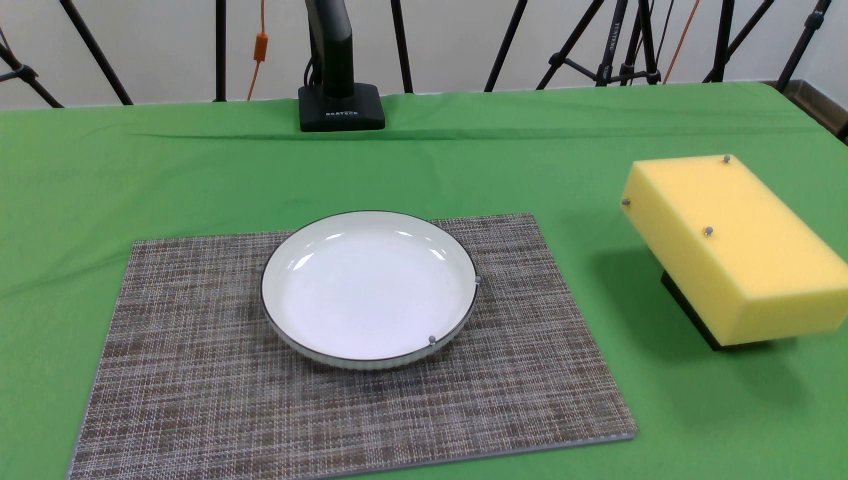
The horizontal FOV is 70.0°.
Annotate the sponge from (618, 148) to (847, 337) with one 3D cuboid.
[{"bbox_3d":[0.292,-0.007,0.589,0.118,0.061,0.204,-6,42,-11],"label":"sponge"}]

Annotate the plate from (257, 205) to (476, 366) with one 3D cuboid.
[{"bbox_3d":[-0.054,0.043,0.593,0.208,0.039,0.205,3,41,-2],"label":"plate"}]
